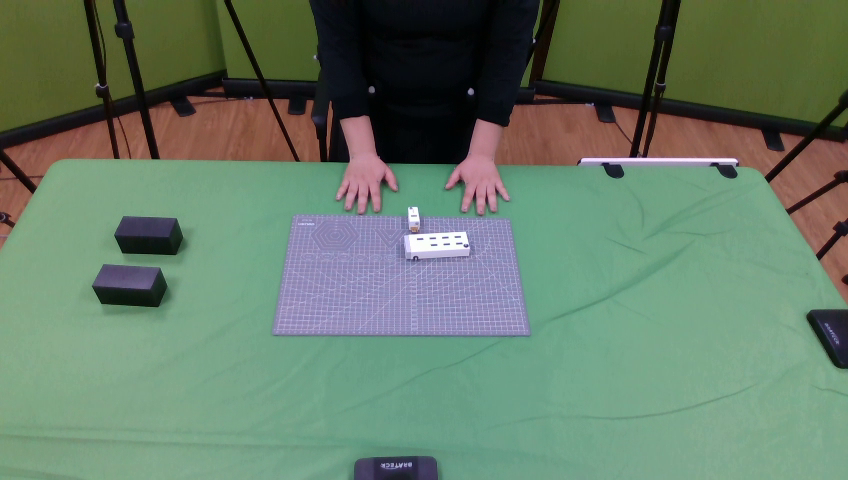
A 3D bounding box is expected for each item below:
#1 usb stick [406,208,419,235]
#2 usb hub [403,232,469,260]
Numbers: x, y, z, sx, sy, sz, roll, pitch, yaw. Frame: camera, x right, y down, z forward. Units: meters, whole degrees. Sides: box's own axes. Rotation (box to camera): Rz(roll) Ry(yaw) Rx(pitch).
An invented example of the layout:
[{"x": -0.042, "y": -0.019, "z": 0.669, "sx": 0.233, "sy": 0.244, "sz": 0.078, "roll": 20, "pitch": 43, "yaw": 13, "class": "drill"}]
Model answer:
[{"x": -0.023, "y": -0.037, "z": 1.226, "sx": 0.021, "sy": 0.027, "sz": 0.059, "roll": 0, "pitch": 48, "yaw": -8, "class": "usb stick"}, {"x": 0.023, "y": 0.012, "z": 1.182, "sx": 0.125, "sy": 0.025, "sz": 0.049, "roll": -3, "pitch": 46, "yaw": -7, "class": "usb hub"}]
